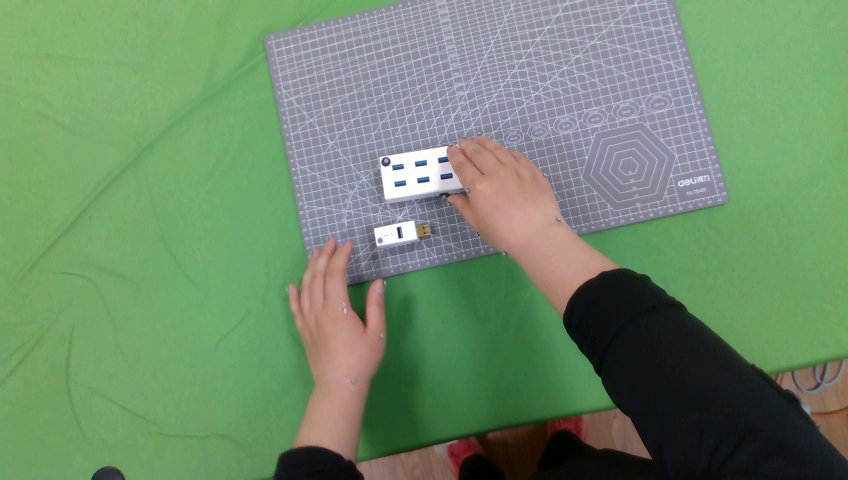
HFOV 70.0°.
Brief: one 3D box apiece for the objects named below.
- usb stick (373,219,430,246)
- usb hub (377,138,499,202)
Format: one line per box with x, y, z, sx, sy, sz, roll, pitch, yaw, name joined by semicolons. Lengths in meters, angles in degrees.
-0.023;-0.009;0.645;0.059;0.027;0.021;-9;85;2;usb stick
0.015;-0.076;0.648;0.125;0.025;0.049;-8;83;4;usb hub
